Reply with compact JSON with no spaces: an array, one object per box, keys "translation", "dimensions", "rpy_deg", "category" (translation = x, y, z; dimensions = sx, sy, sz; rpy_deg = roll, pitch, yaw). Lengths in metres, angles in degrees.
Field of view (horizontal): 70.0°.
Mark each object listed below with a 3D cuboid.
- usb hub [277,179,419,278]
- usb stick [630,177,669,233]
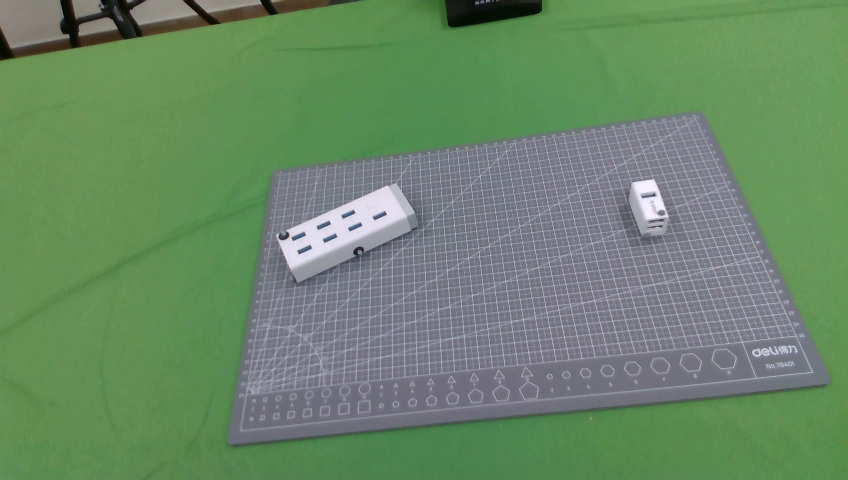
[{"translation":[-0.071,-0.012,0.569],"dimensions":[0.125,0.025,0.049],"rpy_deg":[-24,52,-9],"category":"usb hub"},{"translation":[0.198,-0.036,0.538],"dimensions":[0.021,0.027,0.058],"rpy_deg":[-8,50,6],"category":"usb stick"}]
